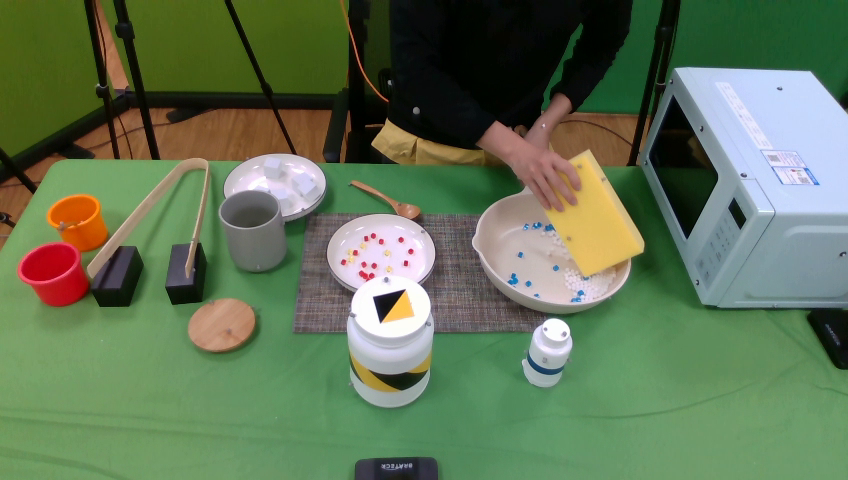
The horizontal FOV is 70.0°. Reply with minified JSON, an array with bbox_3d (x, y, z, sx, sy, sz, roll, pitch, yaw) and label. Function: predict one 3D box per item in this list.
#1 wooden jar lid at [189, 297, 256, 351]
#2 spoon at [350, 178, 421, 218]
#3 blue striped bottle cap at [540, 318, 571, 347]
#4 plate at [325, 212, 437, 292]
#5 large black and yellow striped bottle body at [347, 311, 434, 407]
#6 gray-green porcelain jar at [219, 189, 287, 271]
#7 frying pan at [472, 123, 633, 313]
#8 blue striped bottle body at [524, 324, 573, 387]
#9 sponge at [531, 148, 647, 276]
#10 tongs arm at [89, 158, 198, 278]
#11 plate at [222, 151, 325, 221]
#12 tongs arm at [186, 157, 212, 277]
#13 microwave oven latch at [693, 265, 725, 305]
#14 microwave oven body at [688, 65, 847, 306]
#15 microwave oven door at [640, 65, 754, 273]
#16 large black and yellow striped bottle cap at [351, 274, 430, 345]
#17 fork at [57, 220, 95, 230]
[{"bbox_3d":[-0.342,0.145,1.033,0.108,0.021,0.107,2,45,-2],"label":"wooden jar lid"},{"bbox_3d":[-0.084,-0.093,1.272,0.193,0.022,0.041,31,69,25],"label":"spoon"},{"bbox_3d":[0.203,0.142,0.933,0.044,0.021,0.044,3,49,-3],"label":"blue striped bottle cap"},{"bbox_3d":[-0.080,0.030,1.143,0.209,0.038,0.208,3,46,-2],"label":"plate"},{"bbox_3d":[-0.052,0.157,0.929,0.131,0.185,0.130,2,47,-2],"label":"large black and yellow striped bottle body"},{"bbox_3d":[-0.309,-0.014,1.113,0.106,0.127,0.105,2,46,-2],"label":"gray-green porcelain jar"},{"bbox_3d":[0.235,-0.060,1.207,0.307,0.103,0.484,1,54,-6],"label":"frying pan"},{"bbox_3d":[0.200,0.178,0.970,0.063,0.121,0.062,2,46,-2],"label":"blue striped bottle body"},{"bbox_3d":[0.307,-0.051,1.124,0.207,0.118,0.061,58,29,-2],"label":"sponge"},{"bbox_3d":[-0.529,-0.057,1.164,0.028,0.028,0.385,1,36,8],"label":"tongs arm"},{"bbox_3d":[-0.310,-0.106,1.262,0.208,0.039,0.206,2,47,-2],"label":"plate"},{"bbox_3d":[-0.445,-0.058,1.168,0.051,0.026,0.382,-5,37,-6],"label":"tongs arm"},{"bbox_3d":[0.523,0.082,1.116,0.030,0.029,0.078,2,46,-1],"label":"microwave oven latch"},{"bbox_3d":[0.669,-0.111,1.176,0.326,0.261,0.439,0,46,-3],"label":"microwave oven body"},{"bbox_3d":[0.523,-0.147,1.193,0.039,0.245,0.353,0,47,-3],"label":"microwave oven door"},{"bbox_3d":[-0.048,0.097,0.867,0.115,0.019,0.114,3,48,-3],"label":"large black and yellow striped bottle cap"},{"bbox_3d":[-0.624,-0.027,1.087,0.028,0.207,0.018,-3,92,-17],"label":"fork"}]
